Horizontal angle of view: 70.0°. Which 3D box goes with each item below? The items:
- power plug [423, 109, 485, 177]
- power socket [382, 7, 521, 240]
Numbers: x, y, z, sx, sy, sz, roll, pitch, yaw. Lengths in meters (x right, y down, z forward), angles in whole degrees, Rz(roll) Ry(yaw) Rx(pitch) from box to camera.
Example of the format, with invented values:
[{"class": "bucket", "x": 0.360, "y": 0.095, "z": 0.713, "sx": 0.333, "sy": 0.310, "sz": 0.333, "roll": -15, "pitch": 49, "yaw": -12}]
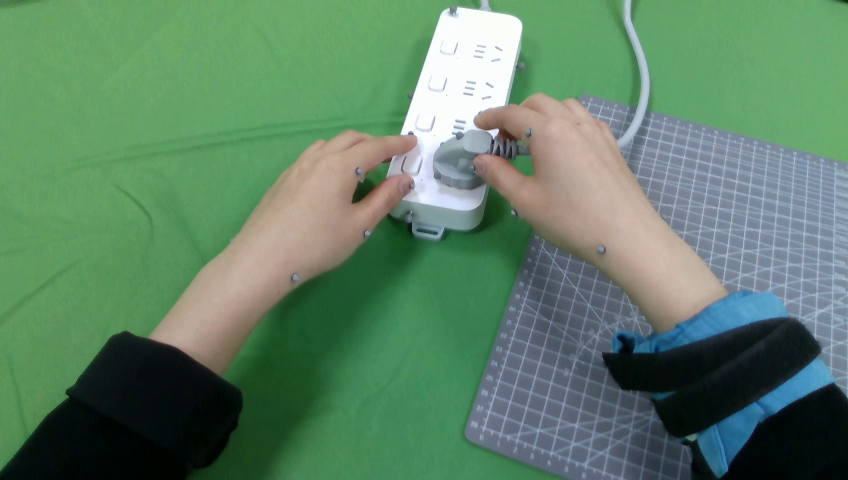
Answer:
[{"class": "power plug", "x": 0.023, "y": -0.067, "z": 0.389, "sx": 0.035, "sy": 0.073, "sz": 0.052, "roll": 31, "pitch": 77, "yaw": 1}, {"class": "power socket", "x": 0.026, "y": -0.101, "z": 0.468, "sx": 0.072, "sy": 0.033, "sz": 0.225, "roll": 12, "pitch": 58, "yaw": 6}]
